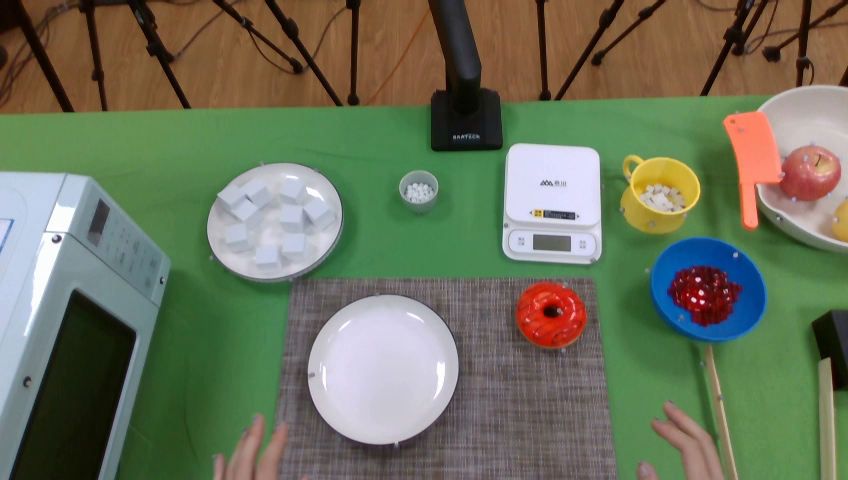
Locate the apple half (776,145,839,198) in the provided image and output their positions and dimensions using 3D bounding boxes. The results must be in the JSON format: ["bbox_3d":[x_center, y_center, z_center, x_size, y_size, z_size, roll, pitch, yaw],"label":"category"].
[{"bbox_3d":[0.569,-0.095,0.913,0.080,0.075,0.053,39,75,16],"label":"apple half"}]

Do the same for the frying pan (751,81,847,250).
[{"bbox_3d":[0.667,-0.034,0.868,0.307,0.104,0.482,-25,57,-8],"label":"frying pan"}]

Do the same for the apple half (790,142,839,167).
[{"bbox_3d":[0.594,-0.122,0.924,0.081,0.082,0.033,38,75,19],"label":"apple half"}]

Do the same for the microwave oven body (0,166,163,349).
[{"bbox_3d":[-0.558,0.158,0.730,0.326,0.262,0.438,2,65,3],"label":"microwave oven body"}]

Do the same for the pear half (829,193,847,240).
[{"bbox_3d":[0.627,-0.035,0.862,0.076,0.111,0.056,32,70,21],"label":"pear half"}]

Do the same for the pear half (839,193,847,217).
[{"bbox_3d":[0.651,-0.055,0.881,0.070,0.089,0.031,31,70,20],"label":"pear half"}]

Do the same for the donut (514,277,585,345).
[{"bbox_3d":[0.175,0.099,0.851,0.099,0.048,0.098,-2,65,4],"label":"donut"}]

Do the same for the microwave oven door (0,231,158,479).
[{"bbox_3d":[-0.416,0.199,0.699,0.039,0.246,0.353,2,64,3],"label":"microwave oven door"}]

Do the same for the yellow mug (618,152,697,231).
[{"bbox_3d":[0.344,-0.083,0.926,0.100,0.064,0.129,-30,66,-11],"label":"yellow mug"}]

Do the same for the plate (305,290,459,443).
[{"bbox_3d":[-0.056,0.172,0.828,0.209,0.038,0.207,-1,64,2],"label":"plate"}]

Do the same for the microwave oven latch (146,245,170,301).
[{"bbox_3d":[-0.395,0.048,0.885,0.030,0.030,0.078,4,65,4],"label":"microwave oven latch"}]

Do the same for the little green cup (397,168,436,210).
[{"bbox_3d":[-0.010,-0.079,0.953,0.061,0.039,0.061,-1,63,2],"label":"little green cup"}]

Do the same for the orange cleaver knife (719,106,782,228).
[{"bbox_3d":[0.485,-0.112,0.893,0.077,0.012,0.209,3,65,7],"label":"orange cleaver knife"}]

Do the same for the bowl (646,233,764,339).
[{"bbox_3d":[0.377,0.074,0.842,0.151,0.077,0.150,-1,65,2],"label":"bowl"}]

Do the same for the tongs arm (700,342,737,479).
[{"bbox_3d":[0.402,0.314,0.748,0.051,0.027,0.381,2,65,-3],"label":"tongs arm"}]

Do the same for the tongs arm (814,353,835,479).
[{"bbox_3d":[0.488,0.323,0.747,0.028,0.028,0.385,17,66,0],"label":"tongs arm"}]

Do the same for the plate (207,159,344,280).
[{"bbox_3d":[-0.226,-0.030,0.938,0.207,0.039,0.206,-1,64,2],"label":"plate"}]

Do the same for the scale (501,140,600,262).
[{"bbox_3d":[0.197,-0.064,0.942,0.148,0.032,0.199,4,65,5],"label":"scale"}]
